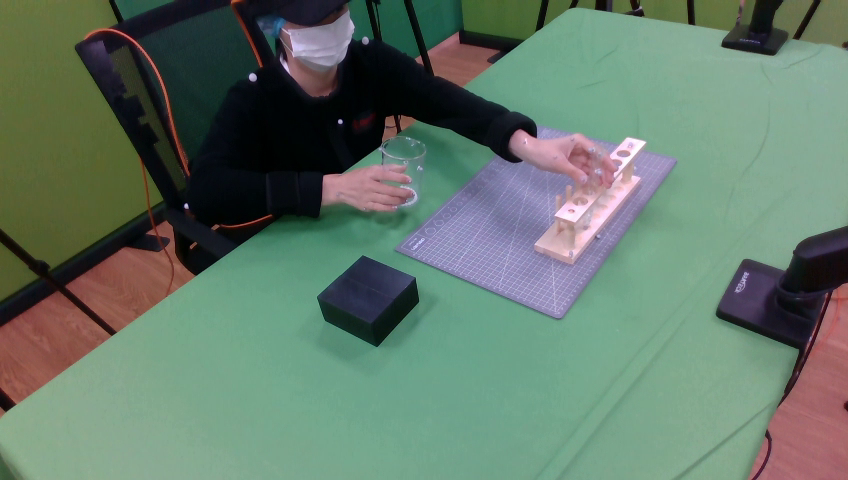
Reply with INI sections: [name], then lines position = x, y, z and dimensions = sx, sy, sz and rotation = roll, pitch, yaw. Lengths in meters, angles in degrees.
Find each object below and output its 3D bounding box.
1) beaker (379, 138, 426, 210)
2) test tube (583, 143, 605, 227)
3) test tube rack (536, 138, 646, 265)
[beaker]
position = -0.037, -0.109, 1.001
dimensions = 0.074, 0.100, 0.084
rotation = 18, 38, 14
[test tube]
position = 0.251, -0.077, 0.896
dimensions = 0.017, 0.151, 0.017
rotation = -3, 43, 3
[test tube rack]
position = 0.268, -0.071, 0.964
dimensions = 0.066, 0.085, 0.243
rotation = 23, 49, 32
